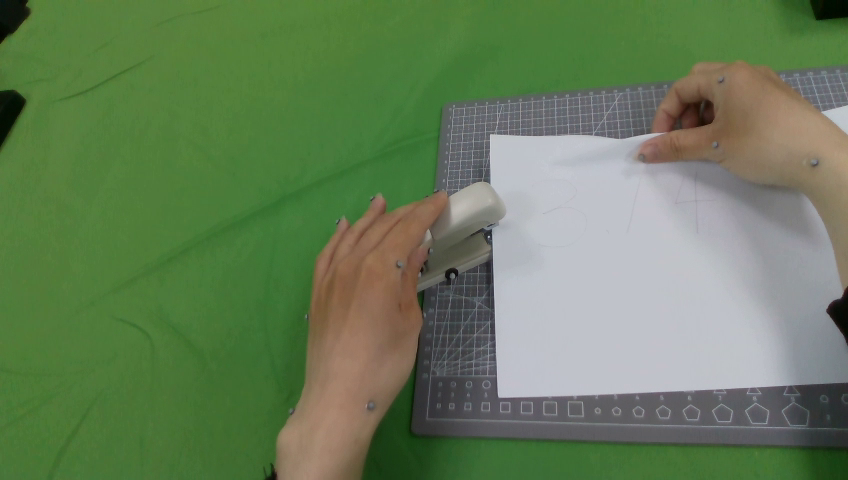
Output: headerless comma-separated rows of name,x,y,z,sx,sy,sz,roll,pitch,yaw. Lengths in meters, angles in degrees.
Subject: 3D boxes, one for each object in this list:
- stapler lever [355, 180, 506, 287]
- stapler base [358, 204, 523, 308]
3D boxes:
stapler lever,0.003,-0.006,0.440,0.118,0.040,0.026,-25,55,1
stapler base,0.010,0.006,0.461,0.130,0.025,0.041,-25,55,1
